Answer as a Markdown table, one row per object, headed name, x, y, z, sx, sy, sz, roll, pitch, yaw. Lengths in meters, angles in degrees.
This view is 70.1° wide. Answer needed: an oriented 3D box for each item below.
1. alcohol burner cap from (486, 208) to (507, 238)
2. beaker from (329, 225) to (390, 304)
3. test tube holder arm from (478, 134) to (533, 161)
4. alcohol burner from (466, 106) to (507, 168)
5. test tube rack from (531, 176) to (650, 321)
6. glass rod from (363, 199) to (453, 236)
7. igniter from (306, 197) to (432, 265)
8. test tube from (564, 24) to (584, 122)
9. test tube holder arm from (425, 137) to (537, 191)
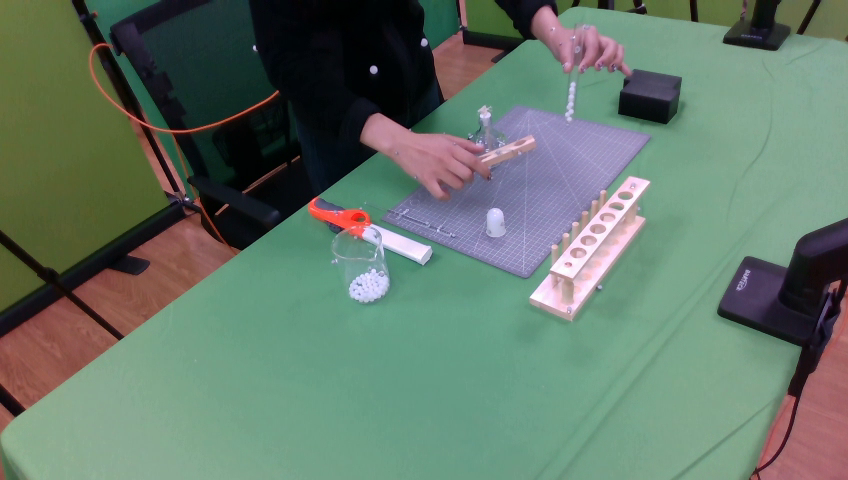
| name | x | y | z | sx | sy | sz | roll | pitch | yaw |
| --- | --- | --- | --- | --- | --- | --- | --- | --- | --- |
| alcohol burner cap | 0.116 | -0.030 | 0.975 | 0.034 | 0.048 | 0.033 | -6 | 40 | 5 |
| beaker | -0.089 | 0.040 | 0.890 | 0.074 | 0.101 | 0.083 | -32 | 46 | -24 |
| test tube holder arm | 0.125 | -0.137 | 0.917 | 0.088 | 0.015 | 0.010 | -23 | 42 | 6 |
| alcohol burner | 0.115 | -0.193 | 1.112 | 0.078 | 0.119 | 0.077 | -4 | 41 | 4 |
| test tube rack | 0.246 | 0.002 | 0.884 | 0.066 | 0.085 | 0.243 | 22 | 49 | 32 |
| glass rod | -0.031 | -0.041 | 1.041 | 0.198 | 0.008 | 0.008 | 22 | 50 | 31 |
| igniter | -0.102 | -0.020 | 1.019 | 0.274 | 0.025 | 0.057 | 23 | 59 | 32 |
| test tube | 0.230 | -0.255 | 0.931 | 0.017 | 0.150 | 0.017 | 0 | 30 | 1 |
| test tube holder arm | 0.085 | -0.116 | 0.917 | 0.178 | 0.015 | 0.013 | -23 | 42 | 5 |
